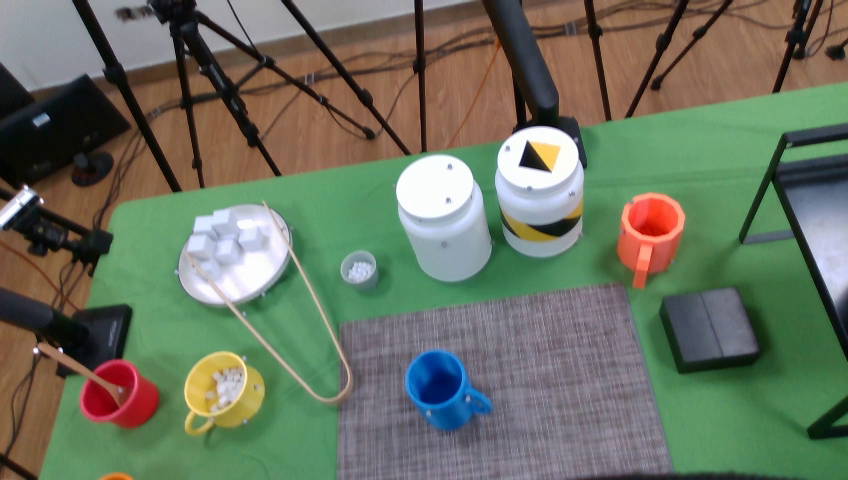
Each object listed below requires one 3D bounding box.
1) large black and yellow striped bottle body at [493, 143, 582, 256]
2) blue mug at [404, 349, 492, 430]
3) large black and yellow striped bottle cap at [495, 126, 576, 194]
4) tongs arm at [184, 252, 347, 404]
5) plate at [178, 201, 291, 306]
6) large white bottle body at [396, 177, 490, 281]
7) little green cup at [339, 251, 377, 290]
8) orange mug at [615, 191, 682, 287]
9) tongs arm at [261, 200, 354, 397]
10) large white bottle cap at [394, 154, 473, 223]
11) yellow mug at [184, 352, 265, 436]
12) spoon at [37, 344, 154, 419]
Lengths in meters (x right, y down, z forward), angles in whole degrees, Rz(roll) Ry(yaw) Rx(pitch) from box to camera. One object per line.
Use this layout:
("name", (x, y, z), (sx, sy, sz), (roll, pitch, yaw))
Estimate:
("large black and yellow striped bottle body", (0.177, -0.072, 0.937), (0.130, 0.186, 0.129), (-6, 58, 10))
("blue mug", (0.039, 0.213, 0.837), (0.116, 0.107, 0.082), (14, 63, 20))
("large black and yellow striped bottle cap", (0.159, -0.117, 0.868), (0.115, 0.019, 0.114), (-5, 58, 9))
("tongs arm", (-0.264, 0.130, 0.978), (0.051, 0.027, 0.381), (-40, 66, -16))
("plate", (-0.332, 0.026, 1.080), (0.207, 0.039, 0.205), (-6, 59, 9))
("large white bottle body", (0.030, -0.032, 0.945), (0.130, 0.186, 0.129), (-6, 58, 10))
("little green cup", (-0.108, 0.053, 1.012), (0.061, 0.039, 0.061), (-5, 59, 9))
("orange mug", (0.331, 0.003, 0.908), (0.083, 0.102, 0.125), (11, 58, 20))
("tongs arm", (-0.198, 0.081, 0.996), (0.028, 0.028, 0.384), (-26, 63, -13))
("large white bottle cap", (0.013, -0.076, 0.874), (0.114, 0.018, 0.114), (-6, 58, 10))
("yellow mug", (-0.314, 0.242, 0.927), (0.099, 0.064, 0.130), (27, 69, 25))
("spoon", (-0.509, 0.216, 0.940), (0.195, 0.021, 0.041), (40, 66, -17))
